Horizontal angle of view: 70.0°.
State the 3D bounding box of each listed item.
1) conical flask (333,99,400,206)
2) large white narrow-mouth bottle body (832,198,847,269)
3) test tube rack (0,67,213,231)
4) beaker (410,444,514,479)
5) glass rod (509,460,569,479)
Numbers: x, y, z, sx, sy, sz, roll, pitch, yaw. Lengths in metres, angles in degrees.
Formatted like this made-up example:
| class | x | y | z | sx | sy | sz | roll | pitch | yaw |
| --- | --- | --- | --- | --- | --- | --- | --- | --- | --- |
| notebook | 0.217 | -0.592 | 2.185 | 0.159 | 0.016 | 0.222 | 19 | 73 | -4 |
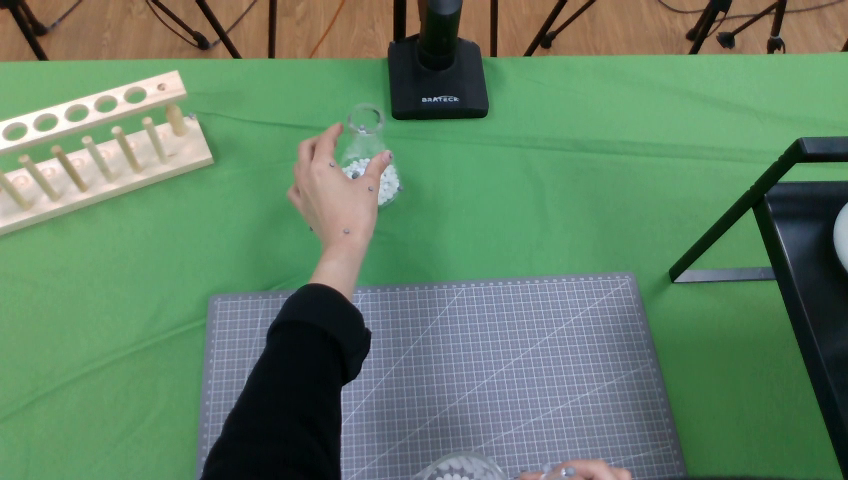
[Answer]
| class | x | y | z | sx | sy | sz | roll | pitch | yaw |
| --- | --- | --- | --- | --- | --- | --- | --- | --- | --- |
| conical flask | -0.062 | -0.095 | 0.639 | 0.075 | 0.123 | 0.074 | 2 | 62 | -3 |
| large white narrow-mouth bottle body | 0.379 | -0.036 | 0.404 | 0.102 | 0.196 | 0.101 | 1 | 62 | -2 |
| test tube rack | -0.359 | -0.094 | 0.633 | 0.243 | 0.086 | 0.066 | -22 | 67 | -15 |
| beaker | 0.027 | 0.214 | 0.502 | 0.084 | 0.101 | 0.073 | 19 | 63 | 6 |
| glass rod | 0.057 | 0.185 | 0.453 | 0.008 | 0.200 | 0.008 | 9 | 59 | -15 |
